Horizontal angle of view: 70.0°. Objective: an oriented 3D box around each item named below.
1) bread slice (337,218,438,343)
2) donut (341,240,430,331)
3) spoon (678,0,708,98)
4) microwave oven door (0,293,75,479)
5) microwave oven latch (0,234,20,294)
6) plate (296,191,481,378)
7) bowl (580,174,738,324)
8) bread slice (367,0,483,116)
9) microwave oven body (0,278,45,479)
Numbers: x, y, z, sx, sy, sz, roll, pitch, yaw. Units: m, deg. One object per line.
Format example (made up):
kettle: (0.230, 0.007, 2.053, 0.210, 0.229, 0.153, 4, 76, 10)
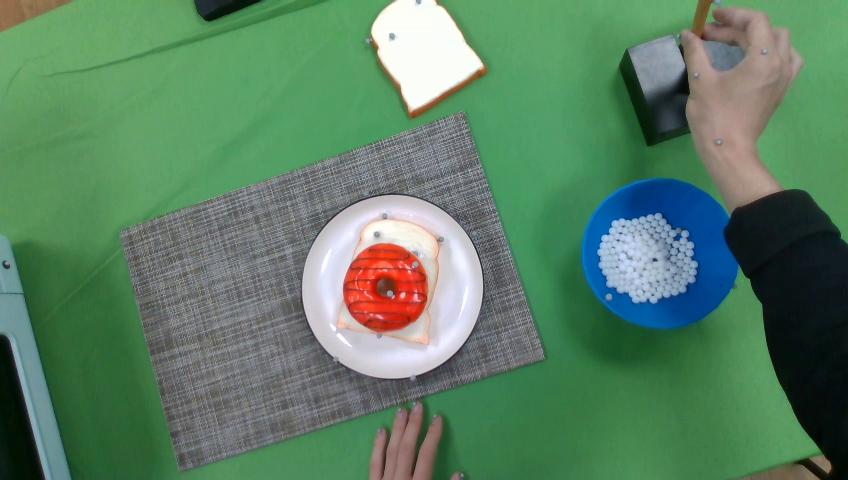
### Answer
bread slice: (-0.038, 0.042, 0.685, 0.107, 0.018, 0.134, 6, 87, 8)
donut: (-0.042, 0.049, 0.657, 0.099, 0.048, 0.099, -1, 86, 8)
spoon: (0.255, -0.189, 0.569, 0.021, 0.195, 0.041, -23, 70, 15)
microwave oven door: (-0.464, 0.225, 0.609, 0.039, 0.244, 0.354, -21, 83, 6)
microwave oven latch: (-0.521, 0.030, 0.735, 0.030, 0.029, 0.079, -20, 84, 5)
plate: (-0.039, 0.050, 0.684, 0.207, 0.039, 0.207, -1, 85, 7)
bowl: (0.235, 0.012, 0.634, 0.151, 0.077, 0.151, -1, 85, 8)
bread slice: (-0.008, -0.228, 0.718, 0.105, 0.019, 0.131, -32, 83, 3)
microwave oven body: (-0.614, 0.237, 0.633, 0.326, 0.261, 0.440, -20, 83, 5)
